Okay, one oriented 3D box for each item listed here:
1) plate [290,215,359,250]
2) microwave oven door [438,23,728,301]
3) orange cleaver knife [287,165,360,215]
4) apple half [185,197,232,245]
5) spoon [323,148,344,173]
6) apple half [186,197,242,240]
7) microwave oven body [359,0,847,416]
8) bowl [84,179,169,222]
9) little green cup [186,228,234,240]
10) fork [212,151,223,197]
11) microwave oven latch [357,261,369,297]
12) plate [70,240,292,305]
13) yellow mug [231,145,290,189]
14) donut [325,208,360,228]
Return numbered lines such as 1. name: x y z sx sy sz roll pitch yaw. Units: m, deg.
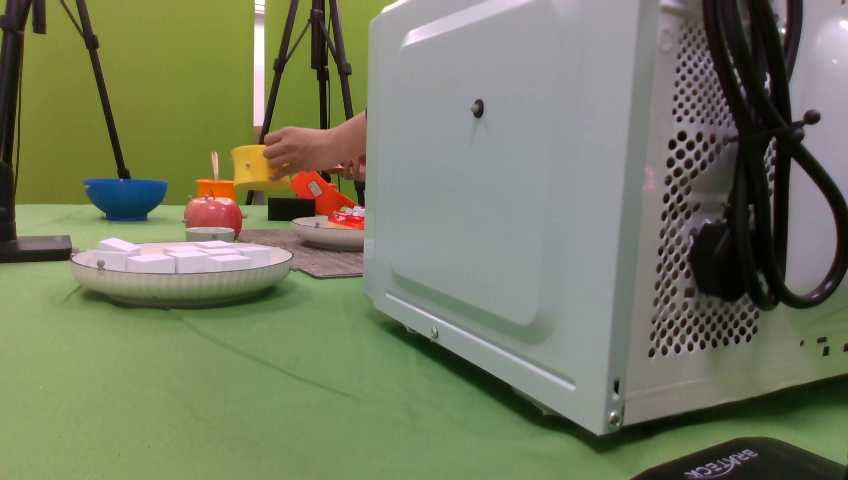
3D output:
1. plate: -0.110 -0.014 0.973 0.209 0.038 0.209 3 8 0
2. microwave oven door: 0.181 -0.073 0.620 0.358 0.243 0.039 -2 8 -29
3. orange cleaver knife: -0.211 -0.092 1.382 0.212 0.077 0.012 34 1 -15
4. apple half: -0.337 -0.031 0.927 0.032 0.081 0.082 13 12 37
5. spoon: -0.184 -0.167 1.242 0.042 0.021 0.193 -8 24 -4
6. apple half: -0.307 -0.026 0.905 0.053 0.074 0.081 14 9 37
7. microwave oven body: 0.211 -0.047 0.474 0.444 0.260 0.324 -1 7 -28
8. bowl: -0.584 -0.078 1.194 0.151 0.077 0.151 3 8 0
9. little green cup: -0.284 0.005 0.805 0.061 0.038 0.061 2 8 0
10. fork: -0.494 -0.143 1.442 0.028 0.018 0.206 -2 52 -20
11. microwave oven latch: -0.019 0.033 0.530 0.079 0.029 0.030 -1 7 -26
12. plate: -0.242 0.031 0.618 0.208 0.039 0.207 2 8 0
13. yellow mug: -0.287 -0.132 1.087 0.100 0.064 0.130 -2 -3 -40
14. donut: -0.110 -0.025 0.974 0.099 0.048 0.099 5 8 0
